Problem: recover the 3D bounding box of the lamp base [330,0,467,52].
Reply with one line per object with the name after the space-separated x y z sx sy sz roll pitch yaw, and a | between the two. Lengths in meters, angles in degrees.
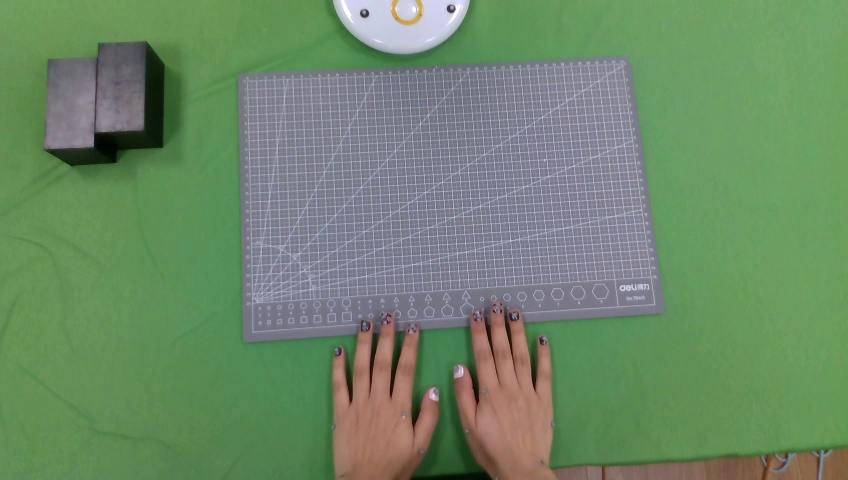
-0.031 -0.319 0.630 0.161 0.181 0.178 -17 77 -6 | lamp base
